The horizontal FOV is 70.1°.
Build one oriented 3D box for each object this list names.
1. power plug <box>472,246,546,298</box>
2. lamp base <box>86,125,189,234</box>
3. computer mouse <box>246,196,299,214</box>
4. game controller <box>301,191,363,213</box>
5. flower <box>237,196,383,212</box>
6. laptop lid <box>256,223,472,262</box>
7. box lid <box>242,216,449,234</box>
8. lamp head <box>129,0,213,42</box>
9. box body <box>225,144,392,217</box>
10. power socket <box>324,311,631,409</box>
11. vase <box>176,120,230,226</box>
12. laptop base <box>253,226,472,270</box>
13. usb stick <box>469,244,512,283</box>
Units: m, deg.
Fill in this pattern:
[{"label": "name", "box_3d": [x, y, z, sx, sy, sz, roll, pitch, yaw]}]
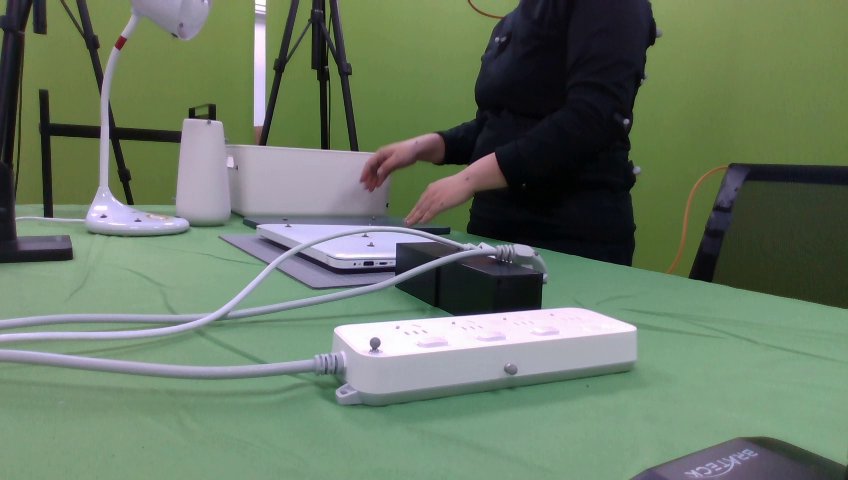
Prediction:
[{"label": "power plug", "box_3d": [0.081, 0.030, 0.584, 0.072, 0.052, 0.035, 11, 28, 9]}, {"label": "lamp base", "box_3d": [-0.497, -0.105, 1.027, 0.179, 0.180, 0.160, 1, 7, 3]}, {"label": "computer mouse", "box_3d": [-0.354, -0.083, 1.418, 0.117, 0.041, 0.063, 0, 10, 7]}, {"label": "game controller", "box_3d": [-0.240, -0.098, 1.550, 0.155, 0.051, 0.097, 3, 9, 5]}, {"label": "flower", "box_3d": [-0.282, -0.082, 1.492, 0.362, 0.038, 0.044, 3, 33, 2]}, {"label": "laptop lid", "box_3d": [-0.092, 0.000, 0.912, 0.243, 0.013, 0.355, 1, 7, -30]}, {"label": "box lid", "box_3d": [-0.162, -0.030, 1.233, 0.373, 0.015, 0.262, -1, 8, -32]}, {"label": "lamp head", "box_3d": [-0.423, -0.394, 0.980, 0.123, 0.112, 0.112, 20, 7, -3]}, {"label": "box body", "box_3d": [-0.289, -0.143, 1.475, 0.366, 0.160, 0.253, -1, 9, -29]}, {"label": "power socket", "box_3d": [0.042, 0.075, 0.410, 0.228, 0.032, 0.072, -1, 8, -25]}, {"label": "vase", "box_3d": [-0.425, -0.128, 1.159, 0.098, 0.200, 0.098, 2, 9, 0]}, {"label": "laptop base", "box_3d": [-0.095, 0.011, 0.912, 0.237, 0.023, 0.352, 2, 6, -32]}, {"label": "usb stick", "box_3d": [0.080, 0.029, 0.673, 0.059, 0.021, 0.027, 28, 24, -29]}]
